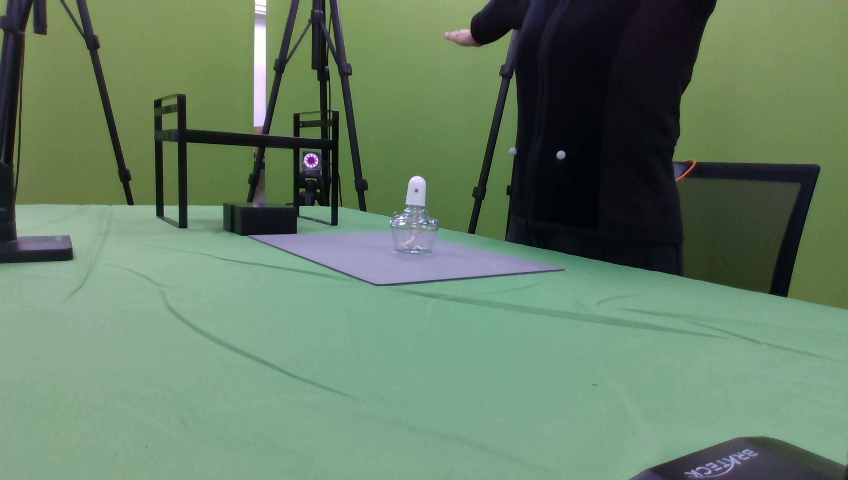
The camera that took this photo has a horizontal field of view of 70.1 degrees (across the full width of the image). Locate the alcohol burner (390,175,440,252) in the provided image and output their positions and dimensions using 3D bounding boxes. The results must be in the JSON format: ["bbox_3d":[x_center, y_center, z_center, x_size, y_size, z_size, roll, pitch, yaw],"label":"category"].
[{"bbox_3d":[-0.013,-0.041,0.930,0.078,0.119,0.078,4,8,0],"label":"alcohol burner"}]

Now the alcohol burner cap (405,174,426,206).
[{"bbox_3d":[-0.012,-0.077,0.925,0.034,0.048,0.034,4,2,0],"label":"alcohol burner cap"}]
